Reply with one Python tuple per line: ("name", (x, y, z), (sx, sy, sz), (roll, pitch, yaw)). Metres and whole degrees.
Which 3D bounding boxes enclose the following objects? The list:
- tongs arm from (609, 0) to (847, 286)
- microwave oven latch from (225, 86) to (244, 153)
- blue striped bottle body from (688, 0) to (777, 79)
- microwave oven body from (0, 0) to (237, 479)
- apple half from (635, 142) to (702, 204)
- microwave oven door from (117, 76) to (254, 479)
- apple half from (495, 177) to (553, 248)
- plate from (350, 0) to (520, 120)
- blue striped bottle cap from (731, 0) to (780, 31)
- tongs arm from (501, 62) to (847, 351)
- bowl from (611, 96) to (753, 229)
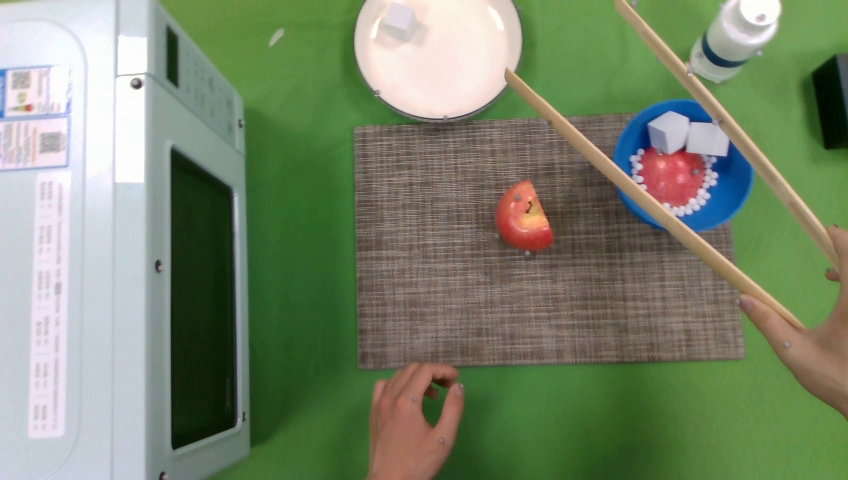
("tongs arm", (0.262, -0.083, 0.538), (0.051, 0.027, 0.381), (-31, 68, -2))
("microwave oven latch", (-0.236, -0.146, 0.734), (0.030, 0.029, 0.079), (-4, 82, 1))
("blue striped bottle body", (0.358, -0.239, 0.698), (0.063, 0.121, 0.063), (0, 81, 3))
("microwave oven body", (-0.378, 0.023, 0.618), (0.326, 0.261, 0.440), (-4, 82, 1))
("apple half", (0.283, -0.079, 0.691), (0.081, 0.033, 0.081), (0, 81, 2))
("microwave oven door", (-0.229, 0.053, 0.602), (0.039, 0.244, 0.354), (-4, 81, 3))
("apple half", (0.110, -0.026, 0.698), (0.053, 0.075, 0.080), (-23, 85, 5))
("plate", (0.014, -0.246, 0.757), (0.207, 0.039, 0.207), (0, 82, 2))
("blue striped bottle cap", (0.355, -0.248, 0.648), (0.044, 0.020, 0.044), (0, 84, 3))
("tongs arm", (0.202, -0.042, 0.536), (0.028, 0.028, 0.384), (-39, 68, -9))
("bowl", (0.283, -0.079, 0.696), (0.151, 0.077, 0.151), (0, 81, 3))
